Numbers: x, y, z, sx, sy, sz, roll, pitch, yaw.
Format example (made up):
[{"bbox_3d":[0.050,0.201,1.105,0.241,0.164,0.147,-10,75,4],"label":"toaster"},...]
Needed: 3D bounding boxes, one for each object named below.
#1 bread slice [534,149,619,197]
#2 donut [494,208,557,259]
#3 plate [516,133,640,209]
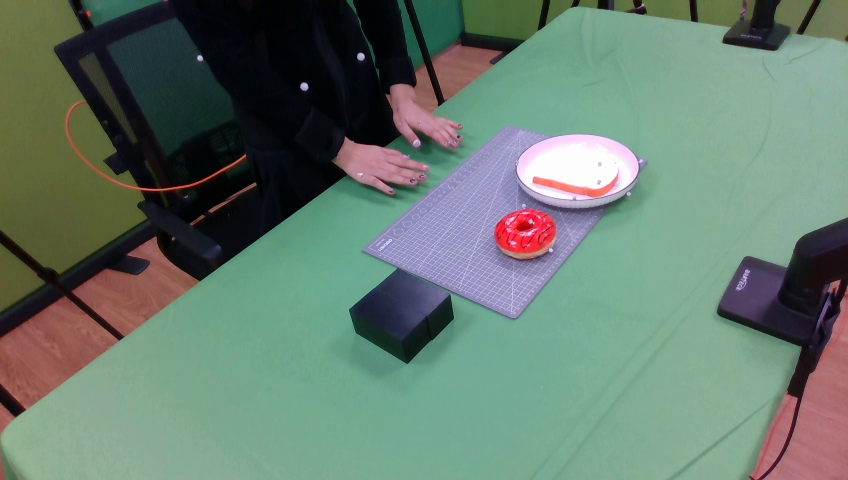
[{"bbox_3d":[0.274,-0.119,1.058,0.130,0.019,0.105,19,48,30],"label":"bread slice"},{"bbox_3d":[0.159,-0.011,0.945,0.099,0.048,0.098,-7,41,6],"label":"donut"},{"bbox_3d":[0.266,-0.117,1.054,0.209,0.038,0.208,-5,40,5],"label":"plate"}]
